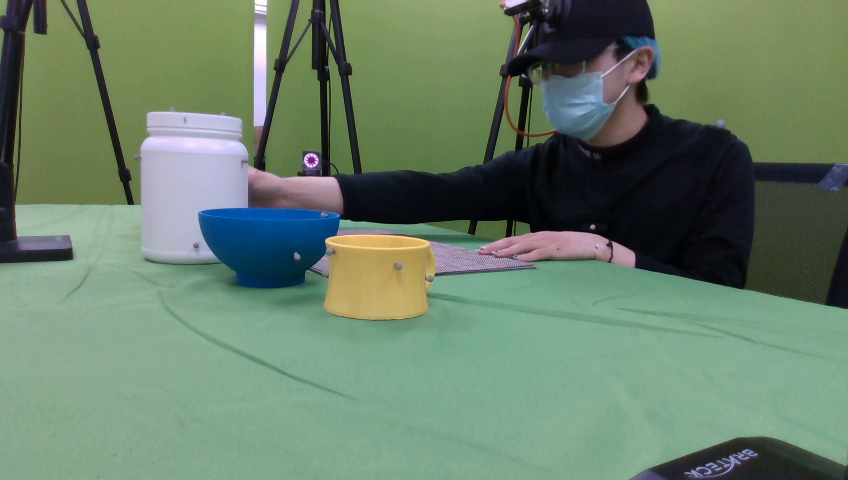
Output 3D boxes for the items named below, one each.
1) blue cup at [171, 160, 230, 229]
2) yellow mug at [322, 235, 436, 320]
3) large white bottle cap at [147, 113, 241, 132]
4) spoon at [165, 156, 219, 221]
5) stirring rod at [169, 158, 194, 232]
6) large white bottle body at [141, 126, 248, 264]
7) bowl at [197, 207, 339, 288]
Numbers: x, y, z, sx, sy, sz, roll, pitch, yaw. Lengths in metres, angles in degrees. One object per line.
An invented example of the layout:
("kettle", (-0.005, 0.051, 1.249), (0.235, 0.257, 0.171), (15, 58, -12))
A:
("blue cup", (-0.345, -0.069, 0.931), (0.093, 0.100, 0.092), (5, 7, 0))
("yellow mug", (-0.035, 0.031, 0.581), (0.099, 0.064, 0.131), (8, 8, 42))
("large white bottle cap", (-0.297, -0.151, 0.786), (0.115, 0.018, 0.115), (2, 7, 0))
("spoon", (-0.451, -0.104, 1.193), (0.041, 0.022, 0.193), (4, 51, 18))
("stirring rod", (-0.424, -0.082, 1.060), (0.014, 0.006, 0.175), (1, 50, -9))
("large white bottle body", (-0.300, -0.068, 0.797), (0.131, 0.184, 0.130), (2, 7, 0))
("bowl", (-0.171, 0.008, 0.671), (0.151, 0.077, 0.151), (2, 7, 0))
